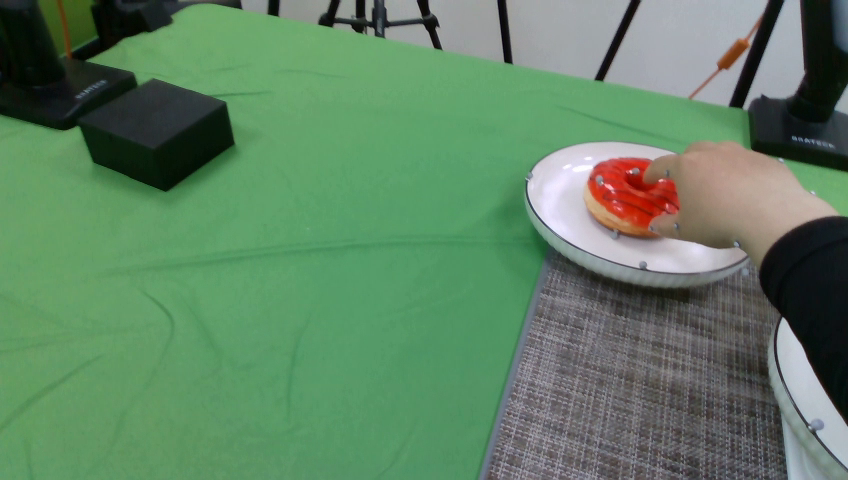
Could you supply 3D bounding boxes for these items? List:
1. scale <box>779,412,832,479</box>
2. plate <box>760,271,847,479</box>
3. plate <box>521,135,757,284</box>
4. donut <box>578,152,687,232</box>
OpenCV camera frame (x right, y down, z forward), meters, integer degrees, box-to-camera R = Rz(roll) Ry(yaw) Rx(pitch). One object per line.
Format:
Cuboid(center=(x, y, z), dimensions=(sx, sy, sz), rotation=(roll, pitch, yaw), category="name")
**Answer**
Cuboid(center=(0.308, 0.144, 0.384), dimensions=(0.148, 0.032, 0.199), rotation=(14, 44, 12), category="scale")
Cuboid(center=(0.316, 0.105, 0.378), dimensions=(0.208, 0.039, 0.205), rotation=(2, 43, -2), category="plate")
Cuboid(center=(0.192, -0.029, 0.562), dimensions=(0.209, 0.038, 0.207), rotation=(2, 40, -1), category="plate")
Cuboid(center=(0.194, -0.044, 0.563), dimensions=(0.099, 0.048, 0.098), rotation=(3, 41, -2), category="donut")
